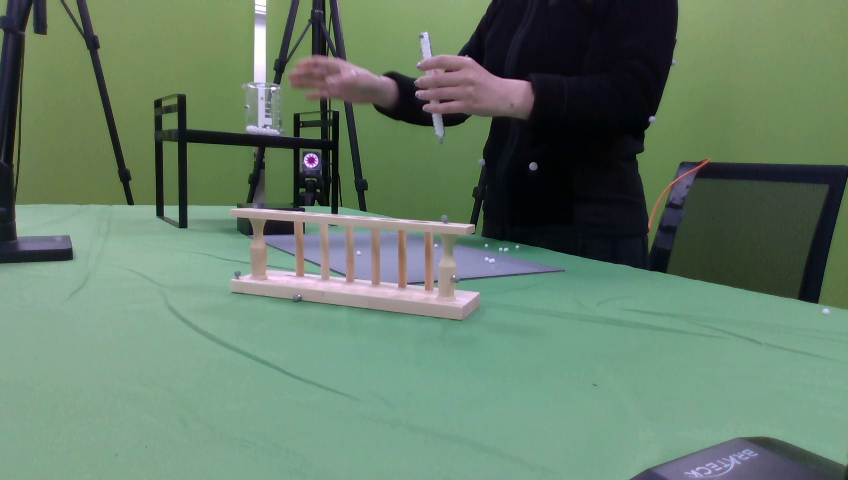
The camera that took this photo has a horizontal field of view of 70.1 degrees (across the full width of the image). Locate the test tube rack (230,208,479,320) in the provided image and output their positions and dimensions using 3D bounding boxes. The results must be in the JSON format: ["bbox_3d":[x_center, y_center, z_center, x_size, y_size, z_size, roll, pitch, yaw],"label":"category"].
[{"bbox_3d":[-0.069,0.017,0.598,0.242,0.085,0.067,5,8,18],"label":"test tube rack"}]

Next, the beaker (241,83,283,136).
[{"bbox_3d":[-0.323,-0.260,1.208,0.084,0.100,0.073,-4,9,-37],"label":"beaker"}]

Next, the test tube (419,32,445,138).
[{"bbox_3d":[0.012,-0.223,0.876,0.017,0.150,0.017,-10,8,2],"label":"test tube"}]
